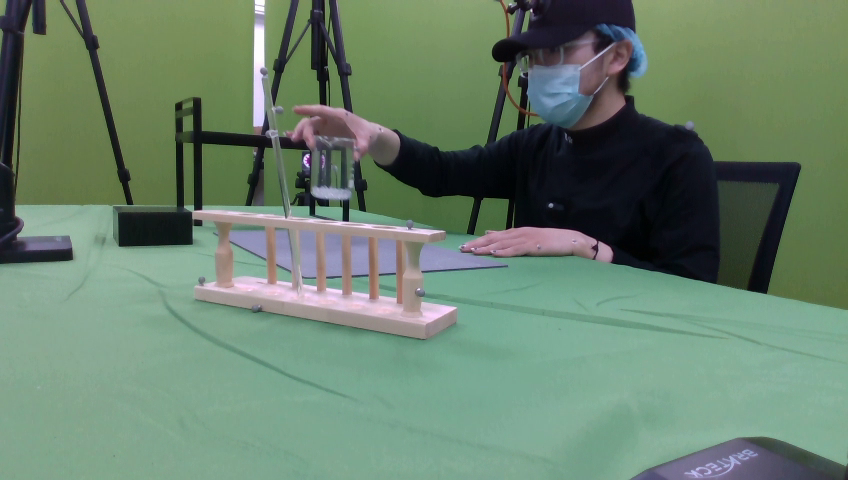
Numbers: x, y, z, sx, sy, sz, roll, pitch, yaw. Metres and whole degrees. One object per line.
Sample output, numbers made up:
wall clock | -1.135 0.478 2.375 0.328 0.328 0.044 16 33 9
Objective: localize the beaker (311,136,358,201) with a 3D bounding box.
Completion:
beaker | -0.149 -0.118 0.996 0.074 0.100 0.084 5 11 0

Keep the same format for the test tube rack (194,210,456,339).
test tube rack | -0.093 0.023 0.546 0.241 0.085 0.067 6 8 25

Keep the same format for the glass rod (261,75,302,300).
glass rod | -0.124 -0.043 0.531 0.008 0.199 0.008 -7 8 1
